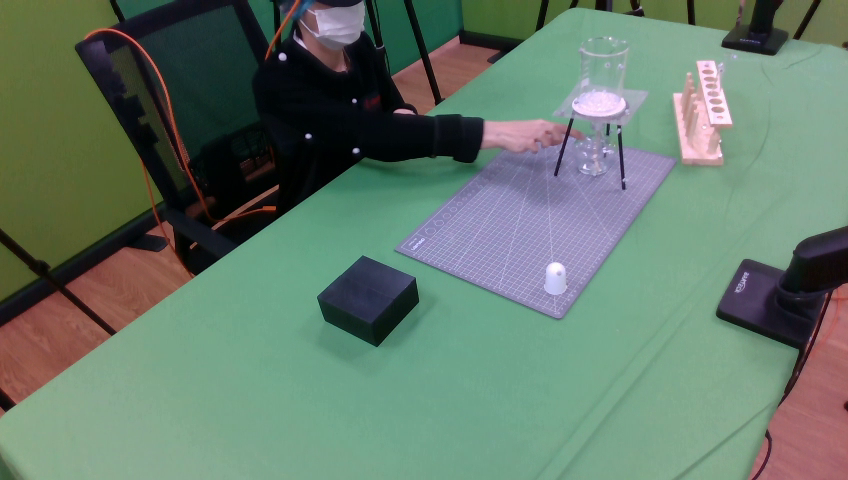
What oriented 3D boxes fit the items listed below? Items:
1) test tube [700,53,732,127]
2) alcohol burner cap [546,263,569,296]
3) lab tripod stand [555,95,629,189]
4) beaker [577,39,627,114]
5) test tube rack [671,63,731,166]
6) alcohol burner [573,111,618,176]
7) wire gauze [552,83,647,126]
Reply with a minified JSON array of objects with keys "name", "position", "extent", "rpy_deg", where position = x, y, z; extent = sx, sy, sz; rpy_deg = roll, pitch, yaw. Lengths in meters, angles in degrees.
[{"name":"test tube","position":[0.521,-0.265,1.081],"extent":[0.017,0.151,0.017],"rpy_deg":[-3,47,3]},{"name":"alcohol burner cap","position":[0.191,0.053,0.862],"extent":[0.034,0.048,0.033],"rpy_deg":[-5,40,4]},{"name":"lab tripod stand","position":[0.300,-0.174,1.045],"extent":[0.148,0.132,0.147],"rpy_deg":[-5,38,5]},{"name":"beaker","position":[0.286,-0.264,0.976],"extent":[0.073,0.100,0.084],"rpy_deg":[25,49,33]},{"name":"test tube rack","position":[0.513,-0.240,1.132],"extent":[0.066,0.085,0.242],"rpy_deg":[4,41,14]},{"name":"alcohol burner","position":[0.301,-0.173,1.058],"extent":[0.078,0.119,0.077],"rpy_deg":[-3,41,3]},{"name":"wire gauze","position":[0.293,-0.224,1.004],"extent":[0.120,0.011,0.125],"rpy_deg":[19,43,26]}]
